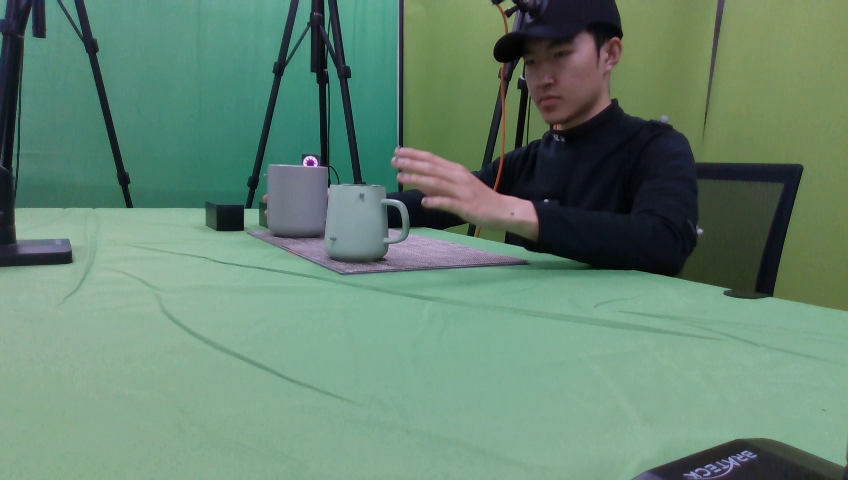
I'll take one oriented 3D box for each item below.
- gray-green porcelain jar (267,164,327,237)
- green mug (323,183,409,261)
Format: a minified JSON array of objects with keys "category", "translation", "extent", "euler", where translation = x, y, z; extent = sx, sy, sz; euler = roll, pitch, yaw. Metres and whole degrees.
[{"category":"gray-green porcelain jar","translation":[-0.228,-0.072,1.086],"extent":[0.106,0.126,0.106],"euler":[2,7,0]},{"category":"green mug","translation":[-0.080,-0.026,0.851],"extent":[0.125,0.105,0.093],"euler":[5,7,20]}]
